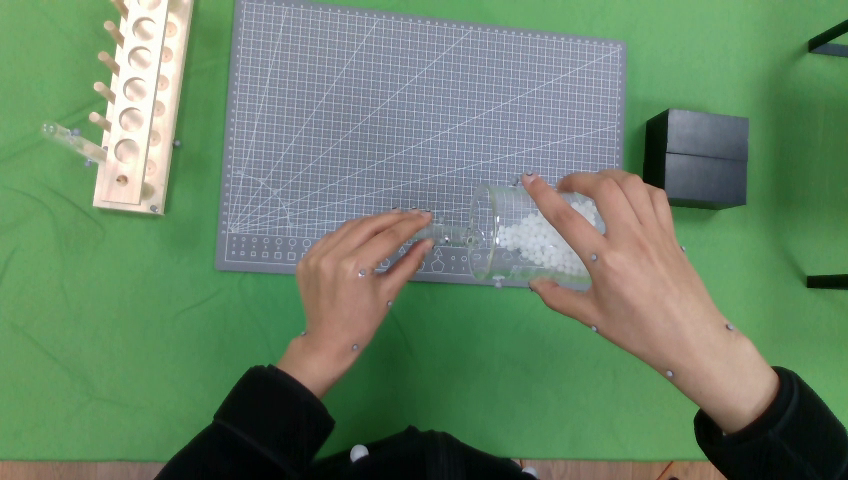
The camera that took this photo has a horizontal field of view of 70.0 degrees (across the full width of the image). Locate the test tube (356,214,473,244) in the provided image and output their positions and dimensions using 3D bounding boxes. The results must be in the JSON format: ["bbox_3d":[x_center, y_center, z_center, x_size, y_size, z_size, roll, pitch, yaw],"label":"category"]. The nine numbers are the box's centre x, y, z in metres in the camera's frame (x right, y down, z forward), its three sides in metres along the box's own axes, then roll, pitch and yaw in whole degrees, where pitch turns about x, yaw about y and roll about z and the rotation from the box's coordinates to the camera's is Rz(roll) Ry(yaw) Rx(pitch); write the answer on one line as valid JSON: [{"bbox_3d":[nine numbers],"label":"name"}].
[{"bbox_3d":[-0.014,-0.011,0.544,0.017,0.149,0.017,-7,100,-42],"label":"test tube"}]

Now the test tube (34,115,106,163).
[{"bbox_3d":[-0.308,-0.087,0.543,0.017,0.150,0.017,0,87,-9],"label":"test tube"}]

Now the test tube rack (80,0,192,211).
[{"bbox_3d":[-0.287,-0.156,0.595,0.067,0.085,0.242,7,85,-9],"label":"test tube rack"}]

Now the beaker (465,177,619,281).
[{"bbox_3d":[0.087,-0.005,0.461,0.100,0.084,0.074,4,84,-11],"label":"beaker"}]
